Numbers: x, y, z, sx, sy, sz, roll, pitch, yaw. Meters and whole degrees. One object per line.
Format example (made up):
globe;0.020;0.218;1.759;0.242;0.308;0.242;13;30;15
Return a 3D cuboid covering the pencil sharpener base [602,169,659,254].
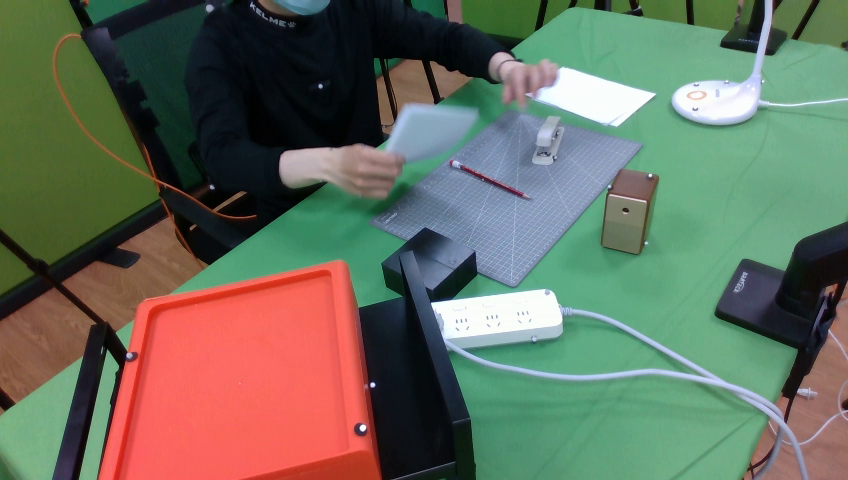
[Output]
pencil sharpener base;0.312;-0.044;0.914;0.061;0.107;0.077;14;45;24

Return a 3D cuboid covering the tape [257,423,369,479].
tape;-0.121;0.262;0.660;0.117;0.053;0.116;-4;40;4

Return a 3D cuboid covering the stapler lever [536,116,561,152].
stapler lever;0.236;-0.209;1.140;0.026;0.040;0.118;10;43;17

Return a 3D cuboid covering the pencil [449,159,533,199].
pencil;0.118;-0.110;1.090;0.192;0.012;0.012;30;52;34

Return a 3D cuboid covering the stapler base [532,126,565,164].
stapler base;0.239;-0.189;1.155;0.041;0.024;0.130;10;42;17

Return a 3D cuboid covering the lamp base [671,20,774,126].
lamp base;0.581;-0.332;1.154;0.179;0.181;0.160;2;41;7

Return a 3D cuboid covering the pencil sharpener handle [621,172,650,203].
pencil sharpener handle;0.328;-0.087;0.941;0.036;0.068;0.030;30;49;7

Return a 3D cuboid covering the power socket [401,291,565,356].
power socket;0.080;0.112;0.822;0.227;0.033;0.072;-6;41;0

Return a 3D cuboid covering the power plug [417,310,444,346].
power plug;0.006;0.122;0.785;0.035;0.053;0.072;-1;40;9

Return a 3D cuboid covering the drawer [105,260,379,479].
drawer;-0.150;0.127;0.525;0.195;0.073;0.210;-11;41;-5

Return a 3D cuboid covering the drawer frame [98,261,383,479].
drawer frame;-0.148;0.129;0.520;0.202;0.083;0.212;-12;41;-6
